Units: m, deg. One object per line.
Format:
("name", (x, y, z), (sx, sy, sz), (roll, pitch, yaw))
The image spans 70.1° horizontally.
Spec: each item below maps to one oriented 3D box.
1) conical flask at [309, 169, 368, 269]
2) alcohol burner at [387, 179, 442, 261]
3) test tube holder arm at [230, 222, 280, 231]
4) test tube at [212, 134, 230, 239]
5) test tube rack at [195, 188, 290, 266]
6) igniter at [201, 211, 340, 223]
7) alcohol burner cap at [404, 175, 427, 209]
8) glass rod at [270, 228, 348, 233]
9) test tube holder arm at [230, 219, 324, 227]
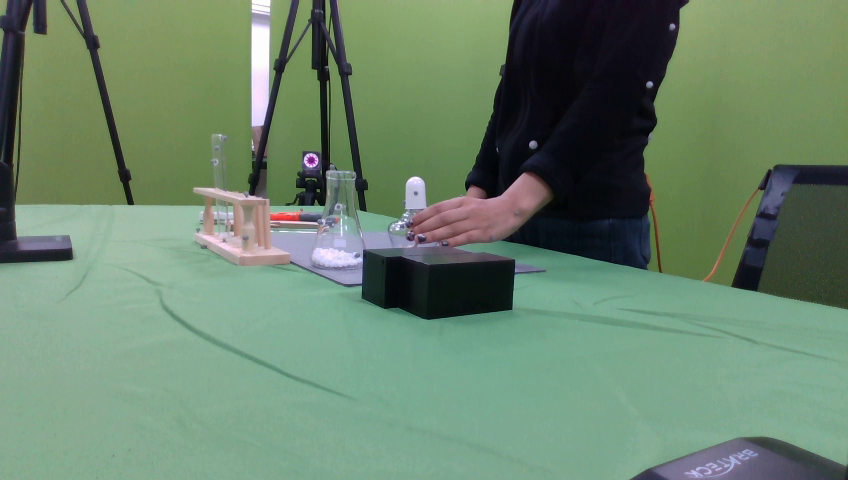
("conical flask", (-0.107, -0.028, 0.762), (0.075, 0.122, 0.075), (2, 7, 0))
("alcohol burner", (-0.012, -0.030, 0.850), (0.078, 0.119, 0.078), (3, 10, 0))
("test tube holder arm", (-0.312, -0.025, 1.118), (0.088, 0.015, 0.010), (-1, 45, -30))
("test tube", (-0.290, -0.076, 0.863), (0.017, 0.150, 0.017), (-2, 6, 0))
("test tube rack", (-0.266, -0.025, 0.864), (0.067, 0.085, 0.241), (-2, 9, -33))
("igniter", (-0.311, -0.048, 1.243), (0.278, 0.025, 0.057), (-1, -2, -24))
("alcohol burner cap", (-0.012, -0.066, 0.845), (0.034, 0.048, 0.034), (-3, 5, 1))
("glass rod", (-0.235, -0.017, 1.105), (0.201, 0.008, 0.008), (1, 7, -26))
("test tube holder arm", (-0.275, -0.030, 1.145), (0.179, 0.015, 0.013), (-3, 45, -31))
